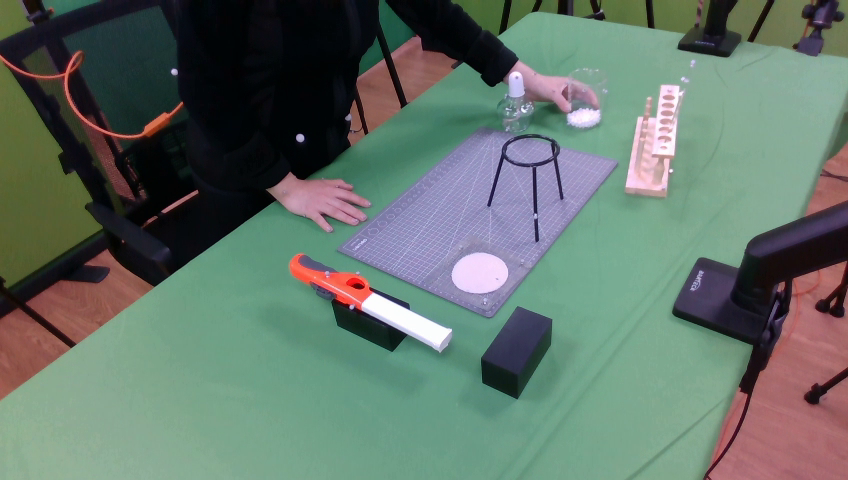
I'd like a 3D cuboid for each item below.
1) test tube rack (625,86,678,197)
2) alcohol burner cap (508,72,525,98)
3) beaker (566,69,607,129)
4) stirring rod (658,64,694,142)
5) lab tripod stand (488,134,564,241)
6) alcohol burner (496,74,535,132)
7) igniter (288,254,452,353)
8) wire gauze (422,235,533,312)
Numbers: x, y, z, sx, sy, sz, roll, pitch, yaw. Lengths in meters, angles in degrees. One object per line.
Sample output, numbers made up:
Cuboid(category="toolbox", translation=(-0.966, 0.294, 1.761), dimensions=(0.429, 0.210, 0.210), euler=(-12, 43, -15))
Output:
Cuboid(category="test tube rack", translation=(0.412, -0.184, 1.088), dimensions=(0.066, 0.085, 0.242), euler=(9, 43, 18))
Cuboid(category="alcohol burner cap", translation=(0.181, -0.306, 1.186), dimensions=(0.034, 0.048, 0.033), euler=(-7, 39, 6))
Cuboid(category="beaker", translation=(0.320, -0.279, 1.201), dimensions=(0.073, 0.101, 0.084), euler=(10, 45, 17))
Cuboid(category="stirring rod", translation=(0.409, -0.213, 1.000), dimensions=(0.006, 0.176, 0.014), euler=(36, 57, 25))
Cuboid(category="lab tripod stand", translation=(0.168, -0.092, 0.972), dimensions=(0.148, 0.132, 0.147), euler=(-5, 41, 5))
Cuboid(category="alcohol burner", translation=(0.183, -0.278, 1.210), dimensions=(0.078, 0.119, 0.077), euler=(-4, 42, 4))
Cuboid(category="igniter", translation=(-0.083, 0.080, 0.818), dimensions=(0.274, 0.025, 0.057), euler=(23, 46, 27))
Cuboid(category="wire gauze", translation=(0.082, 0.049, 0.914), dimensions=(0.120, 0.011, 0.125), euler=(26, 53, 32))
